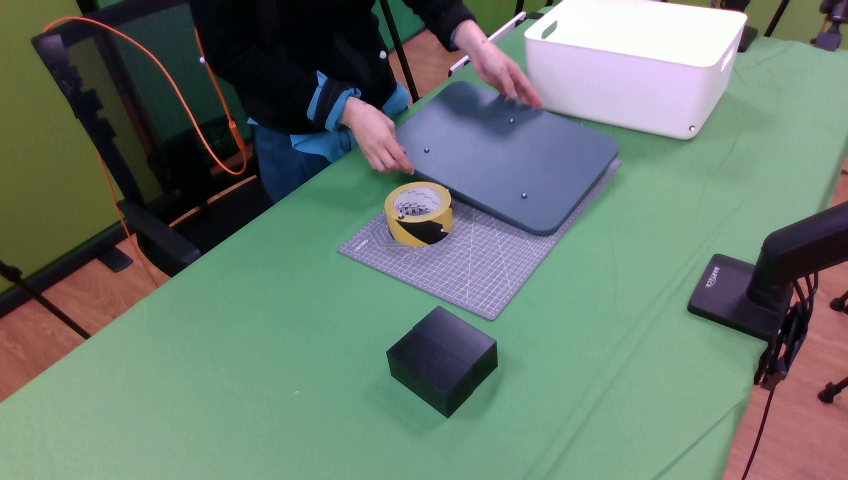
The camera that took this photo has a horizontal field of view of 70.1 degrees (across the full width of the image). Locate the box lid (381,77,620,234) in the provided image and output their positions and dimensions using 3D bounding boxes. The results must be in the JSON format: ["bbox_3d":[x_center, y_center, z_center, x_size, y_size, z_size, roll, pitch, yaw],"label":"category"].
[{"bbox_3d":[0.134,-0.165,1.077,0.369,0.015,0.264,29,60,25],"label":"box lid"}]

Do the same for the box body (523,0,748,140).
[{"bbox_3d":[0.412,-0.354,1.212,0.361,0.161,0.254,20,48,29],"label":"box body"}]

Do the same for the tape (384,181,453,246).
[{"bbox_3d":[-0.009,-0.045,0.994,0.117,0.053,0.116,-4,40,4],"label":"tape"}]
